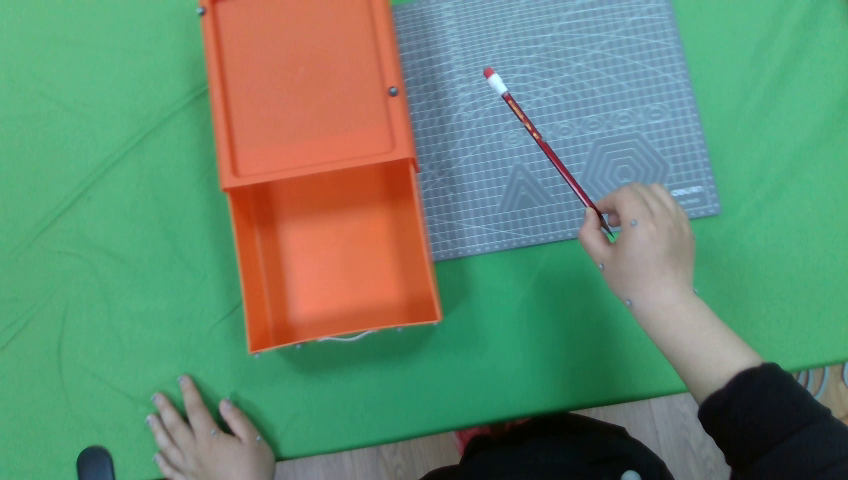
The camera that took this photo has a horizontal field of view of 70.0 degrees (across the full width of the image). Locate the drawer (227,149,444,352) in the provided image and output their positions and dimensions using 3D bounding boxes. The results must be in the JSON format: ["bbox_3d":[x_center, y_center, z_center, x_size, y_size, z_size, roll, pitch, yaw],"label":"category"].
[{"bbox_3d":[-0.093,-0.002,0.634,0.194,0.073,0.211,-10,85,5],"label":"drawer"}]

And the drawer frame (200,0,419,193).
[{"bbox_3d":[-0.121,-0.164,0.649,0.201,0.083,0.213,-10,82,4],"label":"drawer frame"}]

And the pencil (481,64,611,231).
[{"bbox_3d":[0.114,-0.086,0.561,0.012,0.012,0.193,-37,86,0],"label":"pencil"}]
